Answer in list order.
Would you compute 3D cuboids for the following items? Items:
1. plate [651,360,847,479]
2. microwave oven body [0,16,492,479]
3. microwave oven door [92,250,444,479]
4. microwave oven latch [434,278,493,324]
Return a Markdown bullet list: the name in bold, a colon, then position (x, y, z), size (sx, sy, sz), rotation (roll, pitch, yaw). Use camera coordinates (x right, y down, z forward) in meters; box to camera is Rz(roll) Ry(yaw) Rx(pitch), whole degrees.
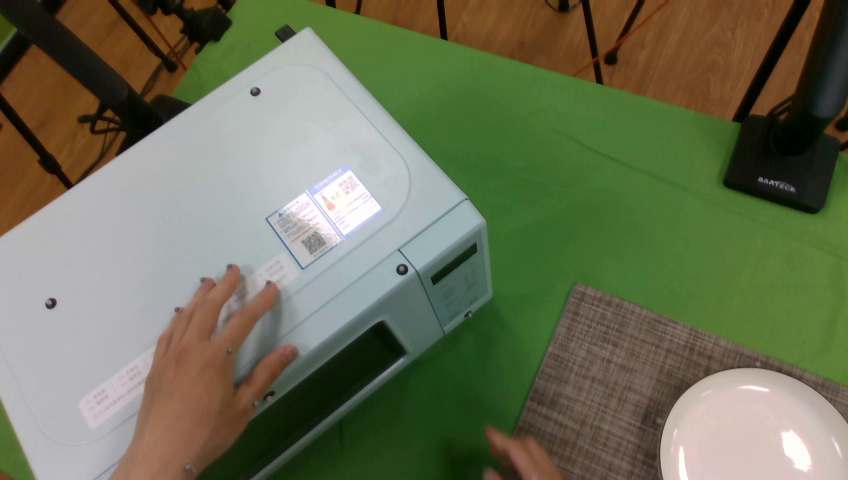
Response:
- **plate**: position (0.349, 0.234, 0.646), size (0.207, 0.039, 0.206), rotation (-2, 69, 7)
- **microwave oven body**: position (-0.194, 0.034, 0.677), size (0.441, 0.262, 0.323), rotation (-38, 69, -7)
- **microwave oven door**: position (-0.140, 0.161, 0.616), size (0.356, 0.246, 0.039), rotation (-38, 68, -7)
- **microwave oven latch**: position (0.048, 0.067, 0.737), size (0.079, 0.030, 0.030), rotation (-36, 69, -6)
